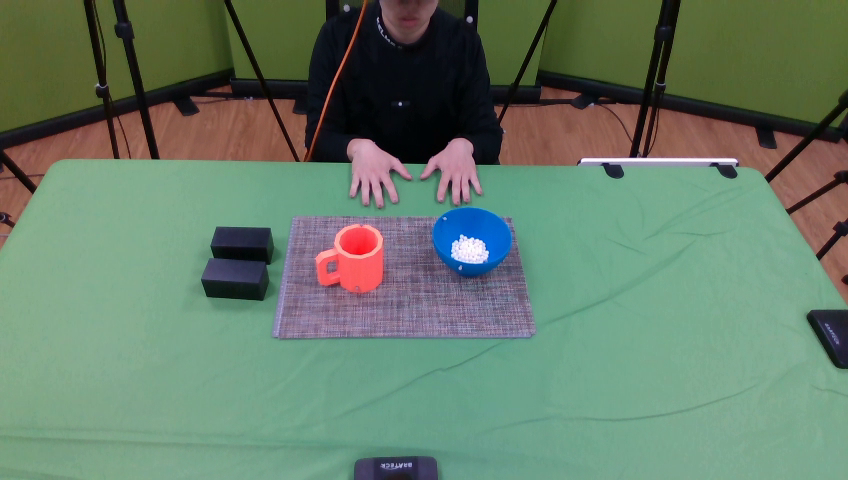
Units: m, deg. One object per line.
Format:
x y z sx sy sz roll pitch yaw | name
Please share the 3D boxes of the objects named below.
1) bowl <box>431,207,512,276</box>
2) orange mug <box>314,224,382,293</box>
0.086 0.016 1.147 0.151 0.077 0.150 2 46 -2 | bowl
-0.135 0.038 1.094 0.126 0.101 0.083 -14 49 -22 | orange mug
